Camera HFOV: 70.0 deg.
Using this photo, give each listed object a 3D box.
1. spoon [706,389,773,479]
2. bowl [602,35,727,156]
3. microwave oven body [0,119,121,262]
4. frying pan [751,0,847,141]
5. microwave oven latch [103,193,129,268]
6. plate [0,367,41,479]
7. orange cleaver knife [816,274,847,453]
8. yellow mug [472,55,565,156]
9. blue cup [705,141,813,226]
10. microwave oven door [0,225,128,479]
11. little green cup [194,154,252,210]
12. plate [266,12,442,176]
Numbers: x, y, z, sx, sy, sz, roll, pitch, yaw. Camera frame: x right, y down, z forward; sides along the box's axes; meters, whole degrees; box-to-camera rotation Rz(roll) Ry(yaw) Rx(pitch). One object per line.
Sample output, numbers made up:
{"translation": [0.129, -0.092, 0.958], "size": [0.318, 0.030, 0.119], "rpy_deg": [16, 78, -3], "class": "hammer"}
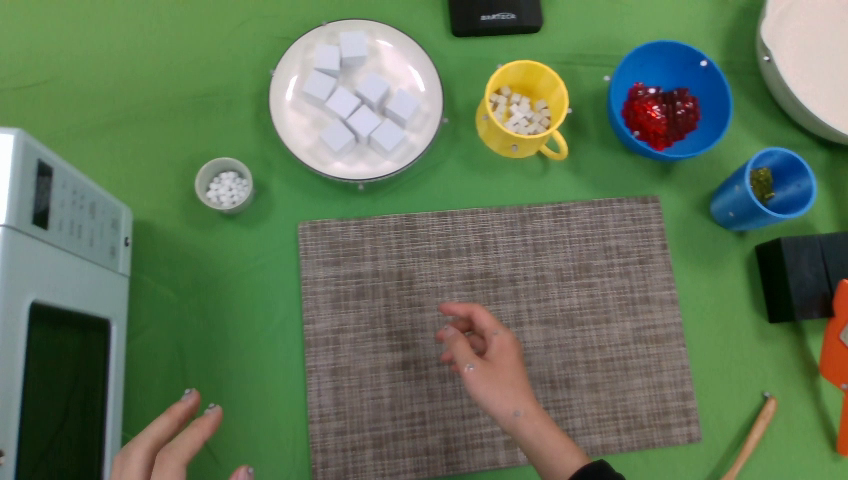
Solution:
{"translation": [0.359, 0.253, 0.703], "size": [0.041, 0.022, 0.193], "rpy_deg": [37, 77, 15], "class": "spoon"}
{"translation": [0.283, -0.166, 0.751], "size": [0.151, 0.077, 0.150], "rpy_deg": [1, 79, -5], "class": "bowl"}
{"translation": [-0.470, 0.147, 0.515], "size": [0.326, 0.260, 0.439], "rpy_deg": [-2, 79, -6], "class": "microwave oven body"}
{"translation": [0.567, -0.162, 0.765], "size": [0.307, 0.103, 0.484], "rpy_deg": [0, 71, -5], "class": "frying pan"}
{"translation": [-0.340, -0.011, 0.658], "size": [0.030, 0.029, 0.079], "rpy_deg": [2, 79, -6], "class": "microwave oven latch"}
{"translation": [-0.461, 0.204, 0.559], "size": [0.209, 0.038, 0.208], "rpy_deg": [1, 80, -6], "class": "plate"}
{"translation": [0.489, 0.145, 0.707], "size": [0.012, 0.076, 0.212], "rpy_deg": [-5, 108, -6], "class": "orange cleaver knife"}
{"translation": [0.124, -0.153, 0.738], "size": [0.100, 0.064, 0.130], "rpy_deg": [-42, 86, -12], "class": "yellow mug"}
{"translation": [0.392, -0.059, 0.727], "size": [0.093, 0.100, 0.092], "rpy_deg": [1, 76, -5], "class": "blue cup"}
{"translation": [-0.322, 0.184, 0.518], "size": [0.039, 0.244, 0.354], "rpy_deg": [-2, 79, -6], "class": "microwave oven door"}
{"translation": [-0.229, -0.064, 0.697], "size": [0.061, 0.039, 0.061], "rpy_deg": [1, 80, -6], "class": "little green cup"}
{"translation": [-0.083, -0.173, 0.736], "size": [0.208, 0.039, 0.206], "rpy_deg": [1, 79, -5], "class": "plate"}
